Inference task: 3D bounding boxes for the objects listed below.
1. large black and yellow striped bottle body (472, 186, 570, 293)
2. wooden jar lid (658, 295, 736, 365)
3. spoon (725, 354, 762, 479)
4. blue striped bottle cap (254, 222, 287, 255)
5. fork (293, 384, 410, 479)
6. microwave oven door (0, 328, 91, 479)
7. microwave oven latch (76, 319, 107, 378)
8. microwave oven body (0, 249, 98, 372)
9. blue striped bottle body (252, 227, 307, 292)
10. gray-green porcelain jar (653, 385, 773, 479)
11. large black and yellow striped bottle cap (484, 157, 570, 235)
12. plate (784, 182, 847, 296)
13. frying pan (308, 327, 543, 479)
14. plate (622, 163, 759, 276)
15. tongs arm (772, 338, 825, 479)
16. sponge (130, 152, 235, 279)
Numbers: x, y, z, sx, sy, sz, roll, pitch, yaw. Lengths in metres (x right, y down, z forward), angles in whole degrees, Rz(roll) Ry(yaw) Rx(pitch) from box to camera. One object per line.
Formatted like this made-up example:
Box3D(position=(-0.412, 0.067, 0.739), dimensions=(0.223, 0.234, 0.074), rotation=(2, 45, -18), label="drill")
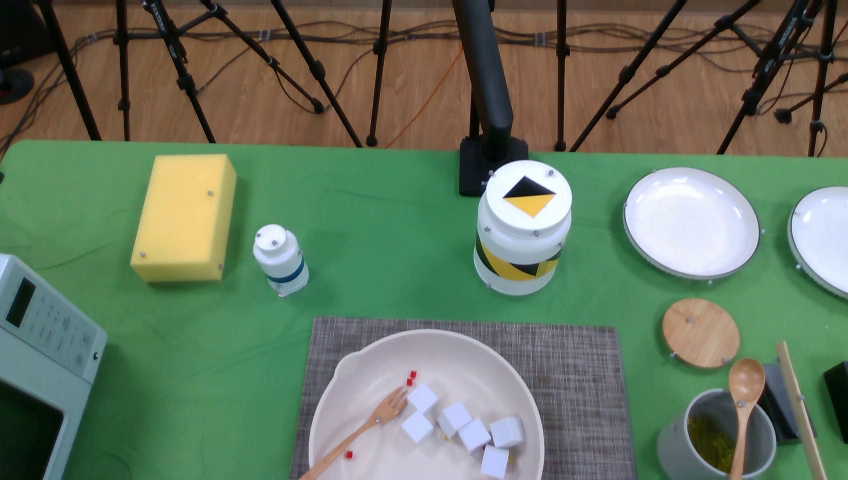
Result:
Box3D(position=(0.137, -0.017, 0.879), dimensions=(0.131, 0.185, 0.129), rotation=(0, 59, 1), label="large black and yellow striped bottle body")
Box3D(position=(0.396, 0.132, 0.884), dimensions=(0.108, 0.021, 0.107), rotation=(0, 61, 1), label="wooden jar lid")
Box3D(position=(0.355, 0.222, 0.689), dimensions=(0.041, 0.022, 0.192), rotation=(18, 65, 7), label="spoon")
Box3D(position=(-0.216, -0.003, 0.851), dimensions=(0.044, 0.021, 0.044), rotation=(0, 61, 1), label="blue striped bottle cap")
Box3D(position=(-0.091, 0.251, 0.779), dimensions=(0.028, 0.019, 0.207), rotation=(43, 44, 15), label="fork")
Box3D(position=(-0.489, 0.289, 0.654), dimensions=(0.039, 0.246, 0.352), rotation=(2, 60, 2), label="microwave oven door")
Box3D(position=(-0.473, 0.152, 0.850), dimensions=(0.030, 0.030, 0.078), rotation=(5, 61, 3), label="microwave oven latch")
Box3D(position=(-0.632, 0.250, 0.684), dimensions=(0.326, 0.262, 0.438), rotation=(2, 60, 2), label="microwave oven body")
Box3D(position=(-0.214, 0.024, 0.895), dimensions=(0.063, 0.122, 0.062), rotation=(0, 59, 1), label="blue striped bottle body")
Box3D(position=(0.351, 0.250, 0.754), dimensions=(0.106, 0.127, 0.105), rotation=(0, 60, 1), label="gray-green porcelain jar")
Box3D(position=(0.137, -0.060, 0.806), dimensions=(0.115, 0.019, 0.114), rotation=(0, 61, 1), label="large black and yellow striped bottle cap")
Box3D(position=(0.666, 0.003, 0.944), dimensions=(0.209, 0.038, 0.207), rotation=(0, 60, 1), label="plate")
Box3D(position=(-0.069, 0.316, 0.730), dimensions=(0.304, 0.103, 0.487), rotation=(39, 59, 22), label="frying pan")
Box3D(position=(0.419, -0.031, 0.968), dimensions=(0.208, 0.039, 0.206), rotation=(0, 60, 1), label="plate")
Box3D(position=(0.500, 0.307, 0.731), dimensions=(0.051, 0.026, 0.382), rotation=(-4, 72, -6), label="tongs arm")
Box3D(position=(-0.381, -0.041, 0.969), dimensions=(0.118, 0.061, 0.205), rotation=(-2, 61, -1), label="sponge")
